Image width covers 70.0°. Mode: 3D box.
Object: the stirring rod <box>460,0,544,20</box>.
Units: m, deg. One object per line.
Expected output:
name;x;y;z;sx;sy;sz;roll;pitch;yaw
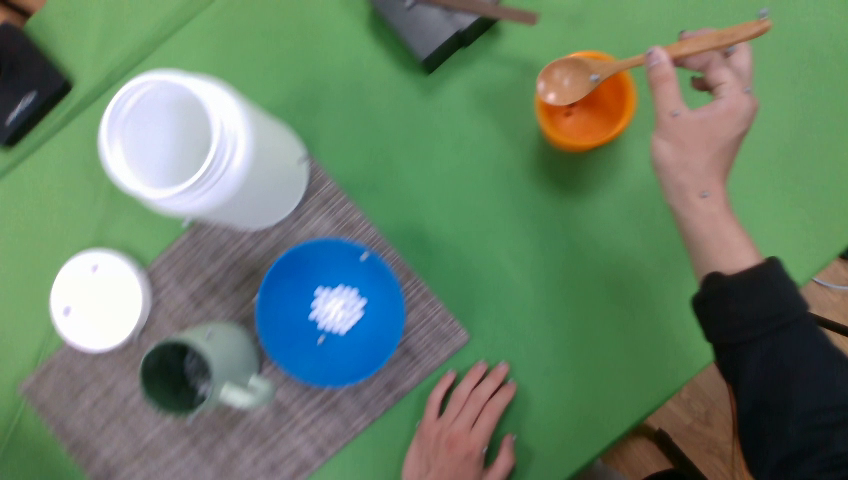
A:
stirring rod;0.033;-0.247;0.603;0.176;0.006;0.014;16;126;5

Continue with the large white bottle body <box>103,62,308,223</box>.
large white bottle body;-0.203;-0.089;0.589;0.130;0.185;0.130;-1;86;9

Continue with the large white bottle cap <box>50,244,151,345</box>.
large white bottle cap;-0.369;0.062;0.690;0.115;0.018;0.114;0;89;6

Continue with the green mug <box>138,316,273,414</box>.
green mug;-0.217;0.136;0.631;0.125;0.105;0.092;23;91;6

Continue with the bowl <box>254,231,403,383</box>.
bowl;-0.090;0.066;0.630;0.151;0.077;0.151;0;90;7

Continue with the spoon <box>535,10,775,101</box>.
spoon;0.171;-0.146;0.481;0.192;0.022;0.042;-2;103;49
